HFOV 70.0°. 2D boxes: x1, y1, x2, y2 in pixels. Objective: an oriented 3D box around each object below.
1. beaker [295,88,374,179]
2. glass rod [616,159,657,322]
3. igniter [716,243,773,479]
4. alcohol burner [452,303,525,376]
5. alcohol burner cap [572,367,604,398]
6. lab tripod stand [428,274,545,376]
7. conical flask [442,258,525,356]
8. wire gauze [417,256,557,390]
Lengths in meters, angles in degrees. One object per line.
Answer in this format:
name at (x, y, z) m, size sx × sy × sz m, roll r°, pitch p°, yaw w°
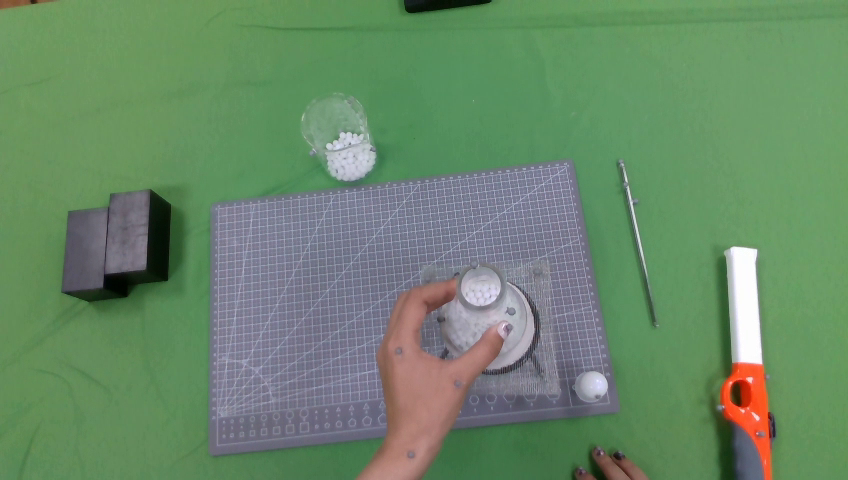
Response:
beaker at (-0.098, -0.120, 0.716) m, size 0.083 × 0.101 × 0.074 m, roll 29°, pitch 78°, yaw 12°
glass rod at (0.245, -0.004, 0.700) m, size 0.008 × 0.008 × 0.198 m, roll -7°, pitch 72°, yaw 2°
igniter at (0.337, 0.137, 0.642) m, size 0.057 × 0.025 × 0.275 m, roll 7°, pitch 74°, yaw -4°
alcohol burner at (0.066, 0.100, 0.626) m, size 0.078 × 0.120 × 0.077 m, roll -2°, pitch 73°, yaw 6°
alcohol burner cap at (0.175, 0.149, 0.640) m, size 0.034 × 0.048 × 0.033 m, roll -2°, pitch 73°, yaw 5°
lab tripod stand at (0.063, 0.096, 0.617) m, size 0.148 × 0.132 × 0.147 m, roll -1°, pitch 75°, yaw 5°
conical flask at (0.047, 0.050, 0.497) m, size 0.075 × 0.123 × 0.075 m, roll -2°, pitch 72°, yaw 6°
wire gauze at (0.056, 0.075, 0.553) m, size 0.125 × 0.011 × 0.121 m, roll -1°, pitch 75°, yaw 6°
